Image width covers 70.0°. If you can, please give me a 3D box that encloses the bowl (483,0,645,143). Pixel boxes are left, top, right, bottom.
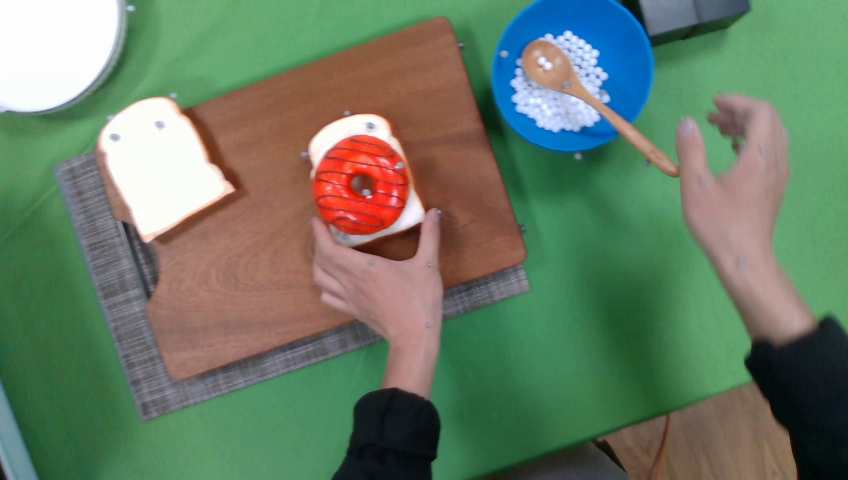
[{"bbox_3d":[0.133,-0.167,0.603,0.151,0.077,0.151,0,92,3],"label":"bowl"}]

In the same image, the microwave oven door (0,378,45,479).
[{"bbox_3d":[-0.483,0.167,0.549,0.039,0.244,0.355,-22,90,4],"label":"microwave oven door"}]

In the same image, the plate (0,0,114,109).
[{"bbox_3d":[-0.430,-0.242,0.650,0.207,0.039,0.207,0,92,3],"label":"plate"}]

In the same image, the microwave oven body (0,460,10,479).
[{"bbox_3d":[-0.634,0.183,0.562,0.326,0.260,0.441,-22,91,3],"label":"microwave oven body"}]

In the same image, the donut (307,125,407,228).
[{"bbox_3d":[-0.065,-0.061,0.589,0.099,0.048,0.099,0,93,3],"label":"donut"}]

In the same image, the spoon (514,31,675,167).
[{"bbox_3d":[0.159,-0.133,0.572,0.041,0.022,0.192,-43,70,-3],"label":"spoon"}]

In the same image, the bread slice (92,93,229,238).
[{"bbox_3d":[-0.280,-0.082,0.628,0.107,0.018,0.134,-34,89,3],"label":"bread slice"}]

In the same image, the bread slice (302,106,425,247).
[{"bbox_3d":[-0.070,-0.069,0.619,0.105,0.019,0.131,-20,92,2],"label":"bread slice"}]
